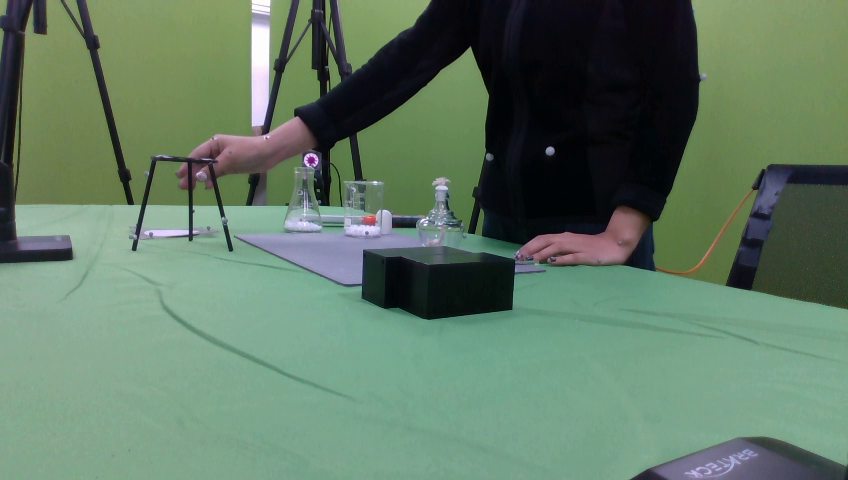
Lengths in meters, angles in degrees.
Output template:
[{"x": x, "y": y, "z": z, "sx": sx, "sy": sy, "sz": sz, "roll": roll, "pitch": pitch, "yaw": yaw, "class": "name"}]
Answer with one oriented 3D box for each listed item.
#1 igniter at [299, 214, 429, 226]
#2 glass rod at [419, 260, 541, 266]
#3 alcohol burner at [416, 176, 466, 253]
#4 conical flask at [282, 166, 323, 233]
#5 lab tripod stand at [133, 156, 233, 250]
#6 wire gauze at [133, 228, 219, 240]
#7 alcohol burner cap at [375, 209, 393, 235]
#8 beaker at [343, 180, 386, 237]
[{"x": -0.123, "y": -0.044, "z": 1.280, "sx": 0.278, "sy": 0.025, "sz": 0.057, "roll": 0, "pitch": -3, "yaw": -20, "class": "igniter"}, {"x": 0.080, "y": 0.031, "z": 0.807, "sx": 0.201, "sy": 0.008, "sz": 0.008, "roll": 1, "pitch": 6, "yaw": -32, "class": "glass rod"}, {"x": 0.027, "y": -0.039, "z": 0.934, "sx": 0.078, "sy": 0.119, "sz": 0.078, "roll": 3, "pitch": 10, "yaw": 0, "class": "alcohol burner"}, {"x": -0.225, "y": -0.076, "z": 1.129, "sx": 0.075, "sy": 0.122, "sz": 0.075, "roll": 2, "pitch": 8, "yaw": 0, "class": "conical flask"}, {"x": -0.342, "y": -0.054, "z": 0.878, "sx": 0.148, "sy": 0.131, "sz": 0.148, "roll": 4, "pitch": 6, "yaw": 0, "class": "lab tripod stand"}, {"x": -0.421, "y": -0.013, "z": 1.024, "sx": 0.122, "sy": 0.011, "sz": 0.124, "roll": -2, "pitch": 7, "yaw": -34, "class": "wire gauze"}, {"x": -0.076, "y": -0.035, "z": 1.150, "sx": 0.034, "sy": 0.048, "sz": 0.034, "roll": 2, "pitch": 7, "yaw": 0, "class": "alcohol burner cap"}, {"x": -0.111, "y": -0.058, "z": 1.090, "sx": 0.083, "sy": 0.100, "sz": 0.074, "roll": 7, "pitch": 8, "yaw": 34, "class": "beaker"}]
